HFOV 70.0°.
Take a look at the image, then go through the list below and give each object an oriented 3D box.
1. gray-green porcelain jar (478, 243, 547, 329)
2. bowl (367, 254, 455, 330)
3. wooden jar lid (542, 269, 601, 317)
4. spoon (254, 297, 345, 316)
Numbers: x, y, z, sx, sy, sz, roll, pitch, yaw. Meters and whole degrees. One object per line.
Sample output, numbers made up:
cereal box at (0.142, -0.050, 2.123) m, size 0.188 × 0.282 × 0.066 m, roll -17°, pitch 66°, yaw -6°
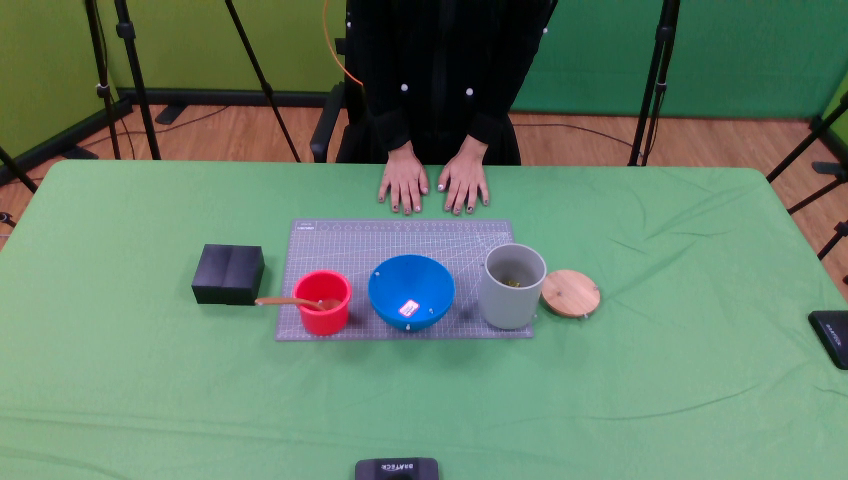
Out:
gray-green porcelain jar at (0.150, 0.085, 1.049) m, size 0.106 × 0.127 × 0.105 m, roll 2°, pitch 46°, yaw -2°
bowl at (-0.023, 0.104, 1.053) m, size 0.151 × 0.077 × 0.150 m, roll 2°, pitch 46°, yaw -2°
wooden jar lid at (0.272, 0.100, 1.121) m, size 0.108 × 0.021 × 0.107 m, roll 2°, pitch 46°, yaw -2°
spoon at (-0.200, 0.104, 0.995) m, size 0.041 × 0.021 × 0.195 m, roll 46°, pitch 15°, yaw 32°
